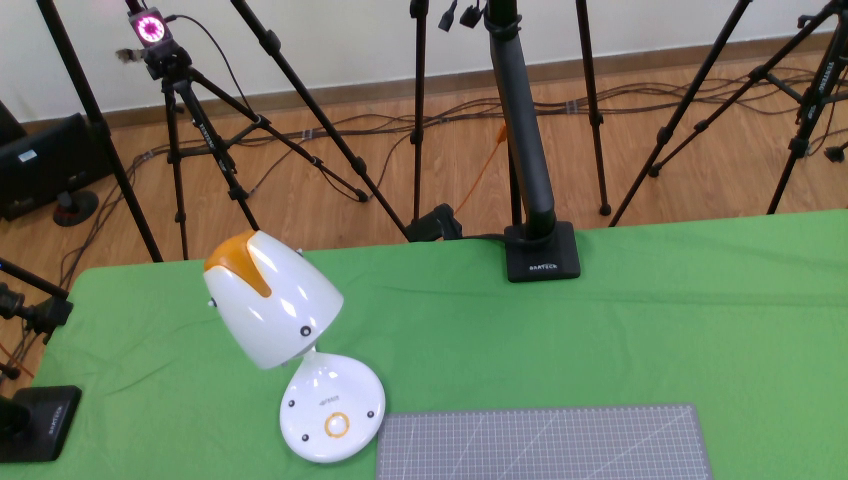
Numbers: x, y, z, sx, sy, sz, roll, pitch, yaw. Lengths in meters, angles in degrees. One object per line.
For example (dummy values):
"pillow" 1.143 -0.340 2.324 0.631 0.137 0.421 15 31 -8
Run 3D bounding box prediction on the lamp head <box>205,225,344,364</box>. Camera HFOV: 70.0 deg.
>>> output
"lamp head" -0.160 0.045 0.612 0.112 0.123 0.112 -35 14 10

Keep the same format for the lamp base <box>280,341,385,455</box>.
"lamp base" -0.155 0.190 0.857 0.161 0.182 0.177 -28 51 -11
